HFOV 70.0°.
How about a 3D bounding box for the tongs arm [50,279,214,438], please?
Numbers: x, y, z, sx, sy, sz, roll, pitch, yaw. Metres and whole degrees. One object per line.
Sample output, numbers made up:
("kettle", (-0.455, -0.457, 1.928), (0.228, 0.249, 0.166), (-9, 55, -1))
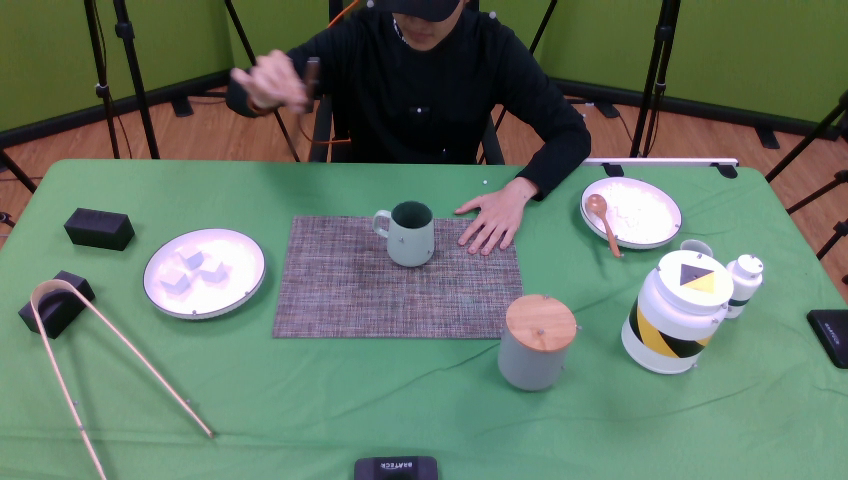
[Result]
("tongs arm", (-0.459, 0.178, 0.949), (0.386, 0.028, 0.028), (37, 60, 17))

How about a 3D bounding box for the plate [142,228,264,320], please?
("plate", (-0.394, 0.064, 1.095), (0.208, 0.039, 0.206), (2, 46, -2))

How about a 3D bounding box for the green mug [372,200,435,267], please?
("green mug", (-0.040, -0.016, 1.146), (0.125, 0.105, 0.092), (17, 48, 13))

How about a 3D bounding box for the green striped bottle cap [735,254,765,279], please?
("green striped bottle cap", (0.566, 0.046, 1.051), (0.044, 0.020, 0.044), (0, 45, 0))

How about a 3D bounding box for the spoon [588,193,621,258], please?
("spoon", (0.367, -0.032, 1.220), (0.041, 0.022, 0.192), (1, 38, -1))

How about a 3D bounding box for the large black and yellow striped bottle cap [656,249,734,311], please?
("large black and yellow striped bottle cap", (0.419, 0.061, 0.938), (0.115, 0.019, 0.114), (2, 47, -2))

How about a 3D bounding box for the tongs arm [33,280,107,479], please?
("tongs arm", (-0.517, 0.214, 0.909), (0.051, 0.026, 0.383), (-29, 63, -27))

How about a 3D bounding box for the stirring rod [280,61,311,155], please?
("stirring rod", (-0.204, -0.204, 0.954), (0.014, 0.176, 0.006), (40, 42, 15))

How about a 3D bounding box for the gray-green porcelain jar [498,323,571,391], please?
("gray-green porcelain jar", (0.176, 0.172, 0.971), (0.106, 0.127, 0.105), (2, 46, -2))

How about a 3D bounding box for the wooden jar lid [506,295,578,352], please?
("wooden jar lid", (0.179, 0.130, 0.926), (0.108, 0.021, 0.107), (2, 43, -2))

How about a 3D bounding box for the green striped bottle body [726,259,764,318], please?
("green striped bottle body", (0.563, 0.081, 1.089), (0.063, 0.120, 0.063), (2, 46, -2))

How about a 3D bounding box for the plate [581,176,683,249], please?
("plate", (0.430, -0.054, 1.267), (0.209, 0.038, 0.208), (2, 46, -2))

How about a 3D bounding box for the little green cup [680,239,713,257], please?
("little green cup", (0.530, 0.033, 1.189), (0.061, 0.039, 0.061), (3, 48, -3))

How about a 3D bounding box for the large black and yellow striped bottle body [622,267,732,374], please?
("large black and yellow striped bottle body", (0.415, 0.119, 0.997), (0.131, 0.185, 0.130), (2, 46, -2))
